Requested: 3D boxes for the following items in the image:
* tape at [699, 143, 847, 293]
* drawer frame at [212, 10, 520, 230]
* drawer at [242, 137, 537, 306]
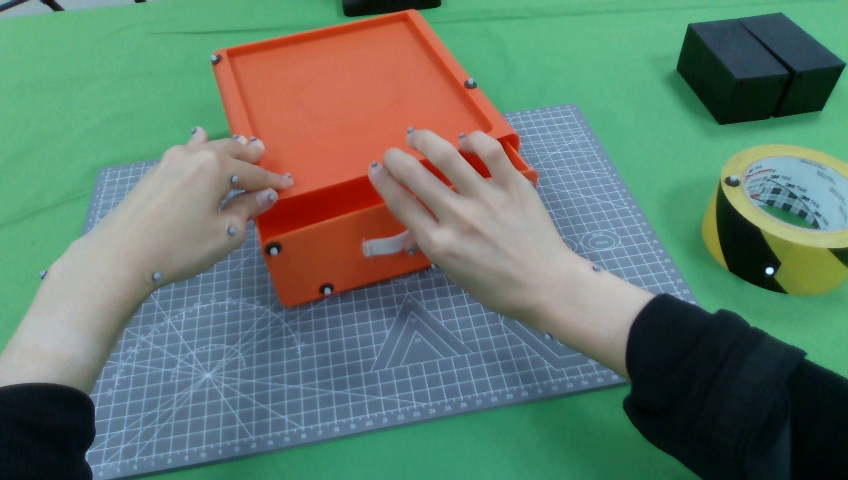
[{"bbox_3d":[0.271,-0.019,0.454,0.117,0.053,0.115,-1,47,1],"label":"tape"},{"bbox_3d":[-0.058,-0.095,0.513,0.202,0.083,0.211,-18,49,-13],"label":"drawer frame"},{"bbox_3d":[-0.044,-0.067,0.488,0.195,0.074,0.209,-16,48,-12],"label":"drawer"}]
